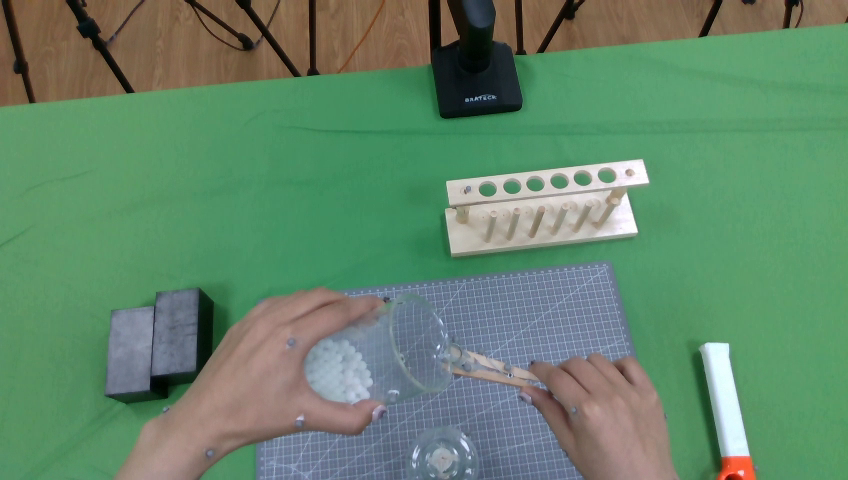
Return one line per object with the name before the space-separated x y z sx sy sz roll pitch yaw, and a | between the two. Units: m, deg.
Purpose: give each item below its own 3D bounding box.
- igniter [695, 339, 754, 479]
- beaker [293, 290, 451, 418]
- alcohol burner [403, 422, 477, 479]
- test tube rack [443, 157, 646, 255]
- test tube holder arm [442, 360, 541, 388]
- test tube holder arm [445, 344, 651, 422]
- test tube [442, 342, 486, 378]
igniter | 0.340 0.245 0.665 0.057 0.025 0.274 4 66 -9
beaker | -0.040 0.089 0.454 0.100 0.085 0.073 -24 57 27
alcohol burner | 0.017 0.225 0.626 0.078 0.120 0.077 0 64 0
test tube rack | 0.148 -0.041 0.761 0.242 0.086 0.066 -7 66 -2
test tube holder arm | 0.059 0.117 0.529 0.087 0.015 0.010 7 77 16
test tube holder arm | 0.102 0.121 0.517 0.177 0.015 0.013 14 79 17
test tube | 0.037 0.108 0.534 0.017 0.151 0.017 -4 72 13
